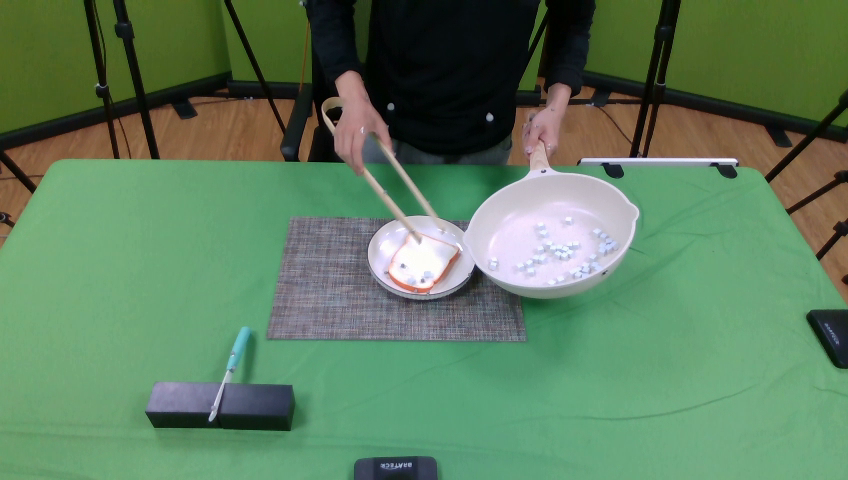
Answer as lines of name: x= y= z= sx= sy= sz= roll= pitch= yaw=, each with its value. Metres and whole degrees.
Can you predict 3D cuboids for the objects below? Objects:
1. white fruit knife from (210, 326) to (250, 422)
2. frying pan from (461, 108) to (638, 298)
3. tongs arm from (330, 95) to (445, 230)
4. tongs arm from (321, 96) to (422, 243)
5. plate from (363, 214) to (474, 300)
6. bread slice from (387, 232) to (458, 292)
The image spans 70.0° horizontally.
white fruit knife: x=-0.301 y=0.201 z=0.942 sx=0.016 sy=0.027 sz=0.206 roll=0 pitch=32 yaw=-1
frying pan: x=0.225 y=-0.089 z=1.144 sx=0.306 sy=0.103 sz=0.485 roll=-8 pitch=51 yaw=12
tongs arm: x=-0.073 y=-0.157 z=1.157 sx=0.028 sy=0.028 sz=0.385 roll=-32 pitch=63 yaw=-13
tongs arm: x=-0.099 y=-0.143 z=1.148 sx=0.051 sy=0.026 sz=0.382 roll=-32 pitch=63 yaw=-17
plate: x=-0.010 y=0.036 z=1.146 sx=0.208 sy=0.039 sz=0.206 roll=3 pitch=46 yaw=-2
bread slice: x=-0.007 y=0.044 z=1.143 sx=0.107 sy=0.018 sz=0.134 roll=18 pitch=45 yaw=14
